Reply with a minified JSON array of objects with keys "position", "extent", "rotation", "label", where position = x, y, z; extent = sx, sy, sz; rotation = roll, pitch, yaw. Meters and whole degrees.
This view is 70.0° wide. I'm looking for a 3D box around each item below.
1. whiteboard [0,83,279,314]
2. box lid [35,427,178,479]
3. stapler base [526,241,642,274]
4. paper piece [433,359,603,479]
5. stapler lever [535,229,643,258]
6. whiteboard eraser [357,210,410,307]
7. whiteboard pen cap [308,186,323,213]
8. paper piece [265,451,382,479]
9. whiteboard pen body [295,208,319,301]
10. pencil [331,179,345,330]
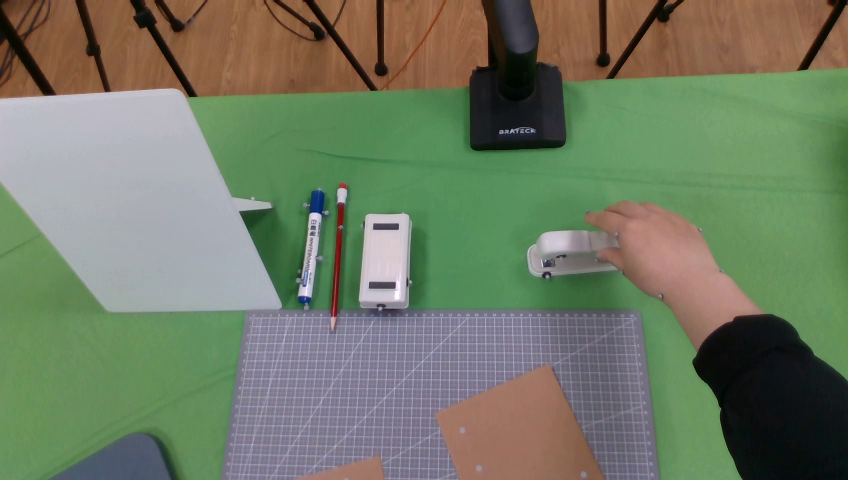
[{"position":[-0.284,-0.068,0.650],"extent":[0.217,0.308,0.142],"rotation":[0,48,6],"label":"whiteboard"},{"position":[-0.324,0.398,0.588],"extent":[0.263,0.015,0.368],"rotation":[-29,69,-7],"label":"box lid"},{"position":[0.183,0.012,0.690],"extent":[0.130,0.024,0.041],"rotation":[-5,69,1],"label":"stapler base"},{"position":[0.094,0.211,0.623],"extent":[0.136,0.009,0.137],"rotation":[-22,69,0],"label":"paper piece"},{"position":[0.183,0.002,0.669],"extent":[0.118,0.040,0.026],"rotation":[-6,69,3],"label":"stapler lever"},{"position":[-0.046,0.021,0.700],"extent":[0.055,0.042,0.112],"rotation":[-1,68,6],"label":"whiteboard eraser"},{"position":[-0.134,-0.049,0.749],"extent":[0.018,0.018,0.033],"rotation":[-1,67,6],"label":"whiteboard pen cap"},{"position":[-0.099,0.296,0.607],"extent":[0.135,0.004,0.134],"rotation":[-14,68,-1],"label":"paper piece"},{"position":[-0.139,0.005,0.728],"extent":[0.017,0.017,0.140],"rotation":[1,67,6],"label":"whiteboard pen body"},{"position":[-0.104,0.014,0.725],"extent":[0.012,0.012,0.192],"rotation":[-3,68,5],"label":"pencil"}]
